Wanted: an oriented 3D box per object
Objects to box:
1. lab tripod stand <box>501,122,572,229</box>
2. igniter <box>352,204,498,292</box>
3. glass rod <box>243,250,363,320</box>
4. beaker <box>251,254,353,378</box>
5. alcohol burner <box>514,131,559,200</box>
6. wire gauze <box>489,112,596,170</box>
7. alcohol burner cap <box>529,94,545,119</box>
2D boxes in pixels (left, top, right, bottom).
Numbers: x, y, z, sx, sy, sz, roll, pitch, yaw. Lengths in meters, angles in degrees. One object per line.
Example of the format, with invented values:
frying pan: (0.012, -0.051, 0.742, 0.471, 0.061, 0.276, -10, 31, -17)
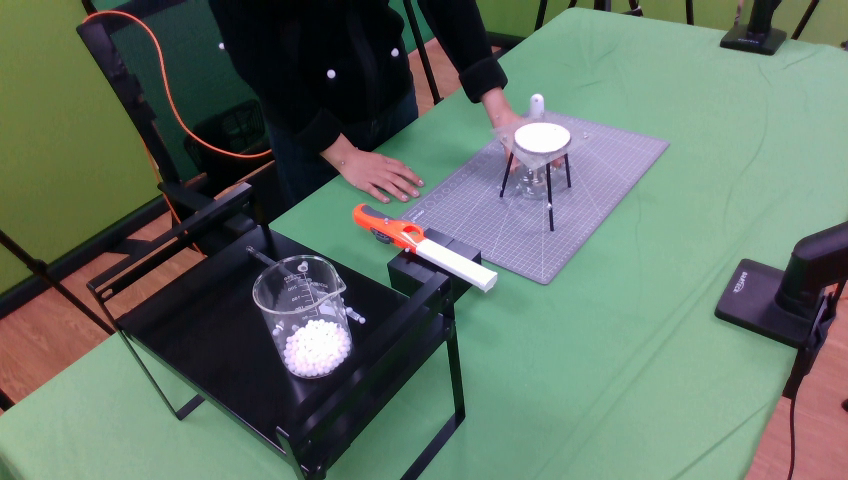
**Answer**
lab tripod stand: (0.194, -0.110, 0.985, 0.148, 0.132, 0.147, -3, 42, 3)
igniter: (-0.009, 0.005, 0.895, 0.274, 0.025, 0.057, 27, 48, 32)
glass rod: (-0.141, 0.046, 0.674, 0.198, 0.008, 0.008, 24, 49, 32)
beaker: (-0.106, 0.074, 0.565, 0.084, 0.101, 0.073, -1, 41, 8)
alcohol burner: (0.190, -0.129, 1.023, 0.078, 0.119, 0.077, -6, 39, 5)
wire gauze: (0.183, -0.161, 0.942, 0.122, 0.011, 0.124, -24, 44, -18)
alcohol burner cap: (0.233, -0.277, 1.247, 0.034, 0.048, 0.033, -5, 41, 5)
